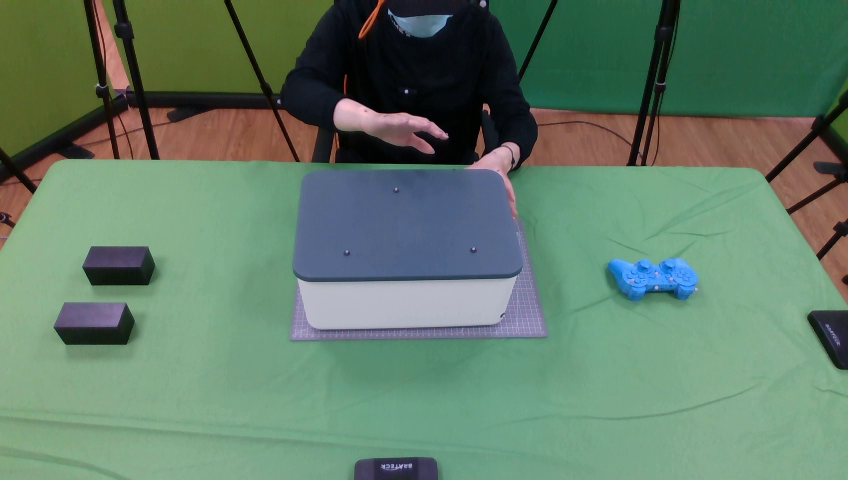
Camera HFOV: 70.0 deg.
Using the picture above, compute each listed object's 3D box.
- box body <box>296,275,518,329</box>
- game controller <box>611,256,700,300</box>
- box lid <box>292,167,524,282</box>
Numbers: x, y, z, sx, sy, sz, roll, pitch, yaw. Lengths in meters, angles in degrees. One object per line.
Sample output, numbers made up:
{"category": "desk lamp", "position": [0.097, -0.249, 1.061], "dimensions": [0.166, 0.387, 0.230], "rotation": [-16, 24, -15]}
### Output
{"category": "box body", "position": [-0.032, 0.016, 1.075], "dimensions": [0.364, 0.161, 0.252], "rotation": [-1, 47, -5]}
{"category": "game controller", "position": [0.441, 0.062, 1.144], "dimensions": [0.155, 0.052, 0.096], "rotation": [-1, 51, -4]}
{"category": "box lid", "position": [-0.027, -0.035, 1.021], "dimensions": [0.372, 0.015, 0.261], "rotation": [-1, 47, -4]}
